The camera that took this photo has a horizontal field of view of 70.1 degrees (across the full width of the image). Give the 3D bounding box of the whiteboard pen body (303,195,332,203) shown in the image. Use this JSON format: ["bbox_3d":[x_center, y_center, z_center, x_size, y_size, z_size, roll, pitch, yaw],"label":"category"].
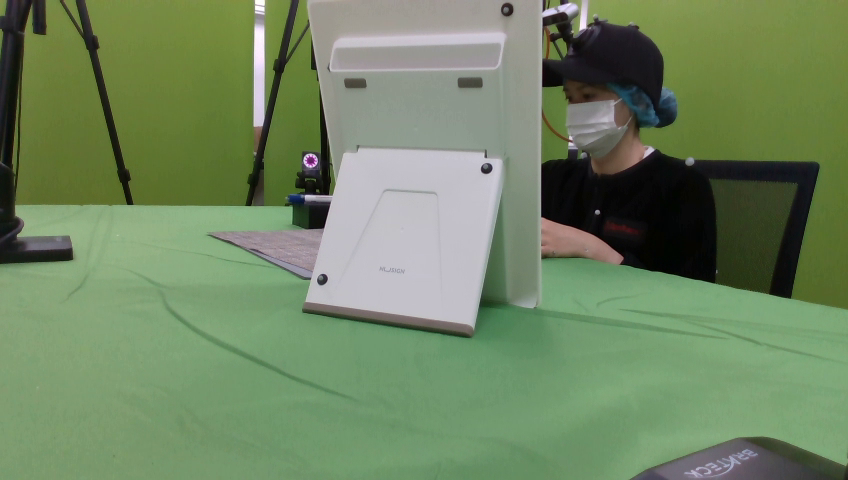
[{"bbox_3d":[-0.198,-0.083,1.229,0.141,0.017,0.017,0,8,-22],"label":"whiteboard pen body"}]

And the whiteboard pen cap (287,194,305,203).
[{"bbox_3d":[-0.255,-0.083,1.206,0.033,0.018,0.018,1,8,-22],"label":"whiteboard pen cap"}]

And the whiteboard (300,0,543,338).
[{"bbox_3d":[-0.020,-0.050,0.523,0.216,0.305,0.144,6,27,22],"label":"whiteboard"}]
